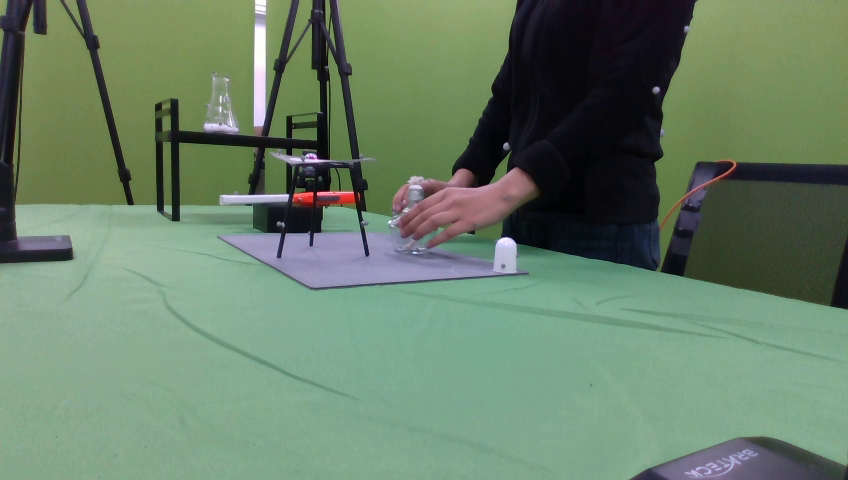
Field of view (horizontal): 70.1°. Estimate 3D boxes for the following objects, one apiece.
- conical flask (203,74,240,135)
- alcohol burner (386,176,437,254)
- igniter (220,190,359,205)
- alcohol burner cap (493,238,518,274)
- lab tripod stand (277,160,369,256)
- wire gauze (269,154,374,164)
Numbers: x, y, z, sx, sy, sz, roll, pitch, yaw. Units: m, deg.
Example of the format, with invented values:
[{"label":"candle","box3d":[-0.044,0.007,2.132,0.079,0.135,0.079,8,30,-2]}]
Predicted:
[{"label":"conical flask","box3d":[-0.425,-0.284,1.272,0.075,0.122,0.075,3,7,0]},{"label":"alcohol burner","box3d":[-0.018,-0.038,0.923,0.078,0.119,0.078,4,7,0]},{"label":"igniter","box3d":[-0.246,-0.081,1.158,0.278,0.025,0.057,-5,7,-33]},{"label":"alcohol burner cap","box3d":[0.107,0.021,0.785,0.034,0.048,0.034,1,8,0]},{"label":"lab tripod stand","box3d":[-0.150,-0.047,0.861,0.148,0.131,0.148,3,9,0]},{"label":"wire gauze","box3d":[-0.146,-0.114,0.860,0.122,0.011,0.124,-2,9,-28]}]
